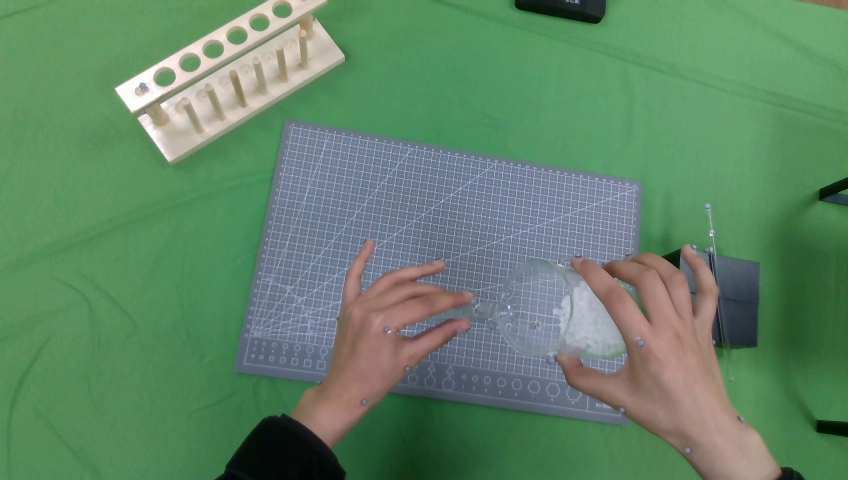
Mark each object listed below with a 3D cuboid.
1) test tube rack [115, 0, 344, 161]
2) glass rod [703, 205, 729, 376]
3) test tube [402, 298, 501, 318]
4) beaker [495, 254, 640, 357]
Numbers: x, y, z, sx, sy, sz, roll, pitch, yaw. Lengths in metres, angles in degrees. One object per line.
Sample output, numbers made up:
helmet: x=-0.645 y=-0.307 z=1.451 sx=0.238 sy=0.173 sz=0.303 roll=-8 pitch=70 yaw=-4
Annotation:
test tube rack: x=-0.209 y=-0.194 z=0.688 sx=0.242 sy=0.085 sz=0.066 roll=-36 pitch=84 yaw=-13
glass rod: x=0.337 y=0.056 z=0.699 sx=0.008 sy=0.008 sz=0.199 roll=0 pitch=78 yaw=-7
test tube: x=0.020 y=0.062 z=0.554 sx=0.017 sy=0.149 sz=0.017 roll=4 pitch=82 yaw=-31
beaker: x=0.118 y=0.057 z=0.490 sx=0.101 sy=0.083 sz=0.073 roll=13 pitch=72 yaw=-38
